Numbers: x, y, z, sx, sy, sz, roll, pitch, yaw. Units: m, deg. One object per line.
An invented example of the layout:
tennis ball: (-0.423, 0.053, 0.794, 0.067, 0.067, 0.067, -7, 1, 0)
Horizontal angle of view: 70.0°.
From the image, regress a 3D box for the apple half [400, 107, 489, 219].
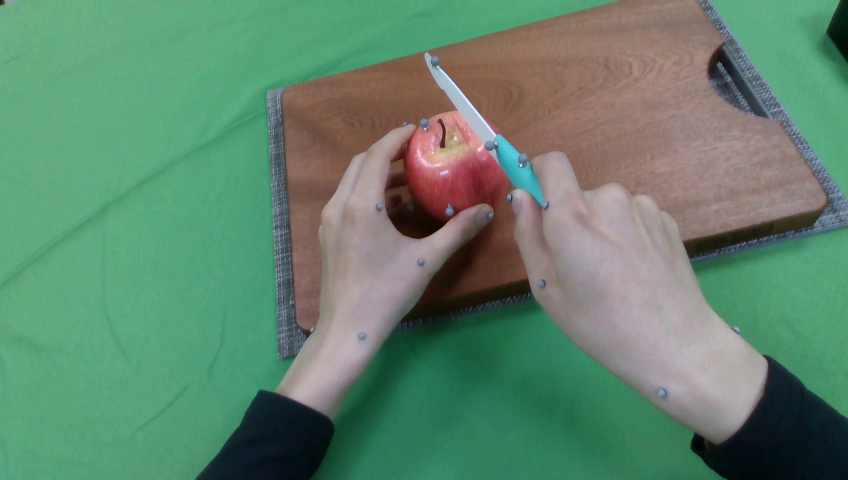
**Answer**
apple half: (0.011, -0.051, 0.454, 0.053, 0.075, 0.080, -24, 60, 0)

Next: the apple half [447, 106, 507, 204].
apple half: (0.047, -0.068, 0.457, 0.033, 0.082, 0.080, -26, 58, -1)

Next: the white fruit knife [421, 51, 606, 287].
white fruit knife: (0.049, -0.056, 0.387, 0.016, 0.027, 0.205, -27, 63, -14)
